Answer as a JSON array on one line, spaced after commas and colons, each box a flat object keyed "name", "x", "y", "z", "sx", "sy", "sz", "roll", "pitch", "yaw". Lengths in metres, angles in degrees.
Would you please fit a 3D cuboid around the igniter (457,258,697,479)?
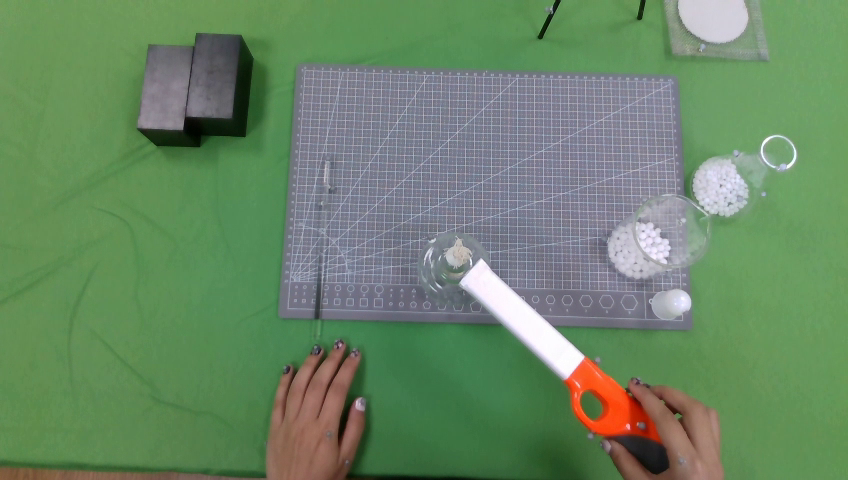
[{"name": "igniter", "x": 0.139, "y": 0.122, "z": 0.543, "sx": 0.276, "sy": 0.025, "sz": 0.057, "roll": 43, "pitch": 77, "yaw": 3}]

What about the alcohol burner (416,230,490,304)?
[{"name": "alcohol burner", "x": 0.029, "y": 0.024, "z": 0.614, "sx": 0.078, "sy": 0.119, "sz": 0.077, "roll": 0, "pitch": 77, "yaw": 1}]

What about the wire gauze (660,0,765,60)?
[{"name": "wire gauze", "x": 0.350, "y": -0.278, "z": 0.738, "sx": 0.125, "sy": 0.011, "sz": 0.121, "roll": 0, "pitch": 79, "yaw": -3}]

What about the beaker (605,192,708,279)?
[{"name": "beaker", "x": 0.237, "y": -0.002, "z": 0.630, "sx": 0.084, "sy": 0.100, "sz": 0.073, "roll": -22, "pitch": 79, "yaw": -5}]

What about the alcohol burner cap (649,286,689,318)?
[{"name": "alcohol burner cap", "x": 0.264, "y": 0.065, "z": 0.646, "sx": 0.034, "sy": 0.048, "sz": 0.033, "roll": 0, "pitch": 78, "yaw": -1}]

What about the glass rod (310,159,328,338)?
[{"name": "glass rod", "x": -0.115, "y": 0.007, "z": 0.668, "sx": 0.008, "sy": 0.008, "sz": 0.199, "roll": 3, "pitch": 81, "yaw": -1}]

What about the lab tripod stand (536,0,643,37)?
[{"name": "lab tripod stand", "x": 0.191, "y": -0.305, "z": 0.677, "sx": 0.148, "sy": 0.132, "sz": 0.148, "roll": 0, "pitch": 80, "yaw": -1}]

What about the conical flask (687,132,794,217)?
[{"name": "conical flask", "x": 0.336, "y": -0.074, "z": 0.638, "sx": 0.075, "sy": 0.122, "sz": 0.075, "roll": 0, "pitch": 78, "yaw": 0}]
